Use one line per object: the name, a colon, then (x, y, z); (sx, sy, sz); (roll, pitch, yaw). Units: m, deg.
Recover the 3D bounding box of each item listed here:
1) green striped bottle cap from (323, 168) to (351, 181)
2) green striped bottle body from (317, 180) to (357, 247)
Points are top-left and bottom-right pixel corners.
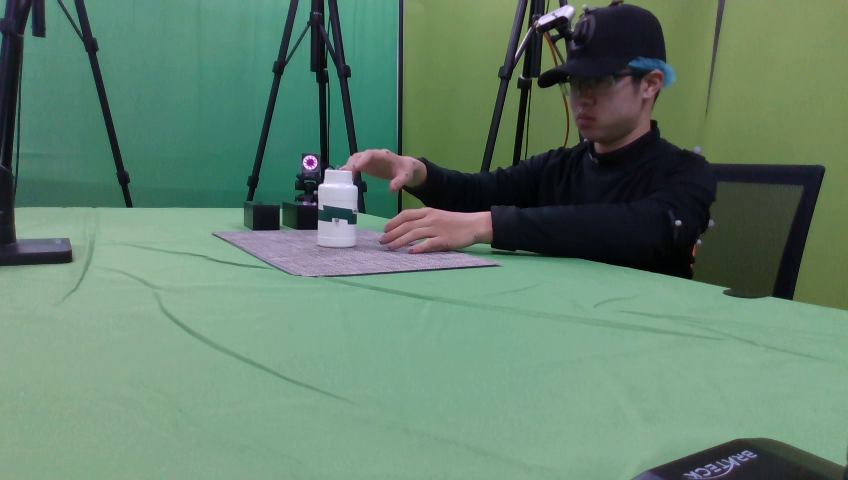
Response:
green striped bottle cap: (-0.137, -0.102, 0.959); (0.044, 0.020, 0.044); (7, 9, -1)
green striped bottle body: (-0.139, -0.051, 0.964); (0.063, 0.119, 0.063); (2, 7, 0)
